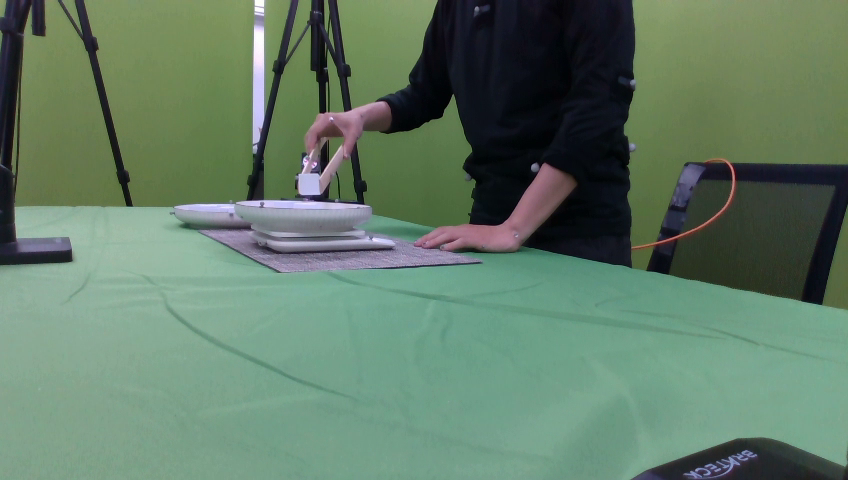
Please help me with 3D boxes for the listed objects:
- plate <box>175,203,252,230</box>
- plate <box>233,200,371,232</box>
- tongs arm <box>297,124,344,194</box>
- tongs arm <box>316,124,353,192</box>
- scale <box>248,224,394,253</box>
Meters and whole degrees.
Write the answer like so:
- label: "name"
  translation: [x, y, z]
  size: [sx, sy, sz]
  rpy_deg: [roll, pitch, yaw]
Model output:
- label: "plate"
  translation: [-0.381, -0.047, 1.199]
  size: [0.208, 0.039, 0.207]
  rpy_deg: [3, 7, 0]
- label: "plate"
  translation: [-0.188, -0.039, 0.939]
  size: [0.209, 0.038, 0.209]
  rpy_deg: [2, 7, 0]
- label: "tongs arm"
  translation: [-0.189, -0.163, 1.143]
  size: [0.051, 0.026, 0.384]
  rpy_deg: [-6, 23, -1]
- label: "tongs arm"
  translation: [-0.167, -0.164, 1.142]
  size: [0.028, 0.028, 0.387]
  rpy_deg: [-8, 23, 5]
- label: "scale"
  translation: [-0.162, -0.006, 0.954]
  size: [0.202, 0.031, 0.148]
  rpy_deg: [-2, 8, -32]
